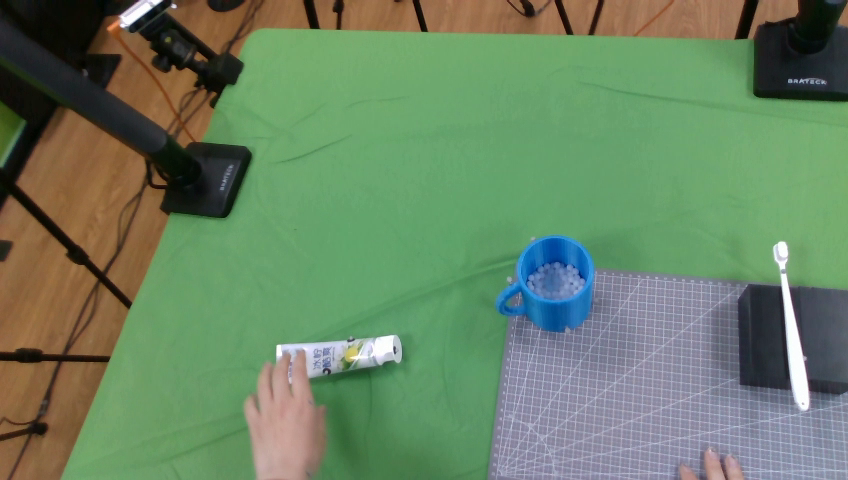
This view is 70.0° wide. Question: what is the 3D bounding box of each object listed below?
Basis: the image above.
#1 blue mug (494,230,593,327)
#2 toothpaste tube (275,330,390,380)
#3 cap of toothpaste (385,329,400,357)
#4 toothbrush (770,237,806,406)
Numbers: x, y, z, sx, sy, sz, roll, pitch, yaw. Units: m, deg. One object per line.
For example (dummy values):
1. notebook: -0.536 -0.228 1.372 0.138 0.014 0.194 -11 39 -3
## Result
1. blue mug: 0.136 0.053 0.703 0.116 0.107 0.081 -21 63 3
2. toothpaste tube: -0.115 0.139 0.769 0.165 0.035 0.054 -10 60 12
3. cap of toothpaste: -0.039 0.128 0.750 0.011 0.038 0.037 -10 64 13
4. toothbrush: 0.380 0.080 0.630 0.014 0.017 0.180 2 67 9
